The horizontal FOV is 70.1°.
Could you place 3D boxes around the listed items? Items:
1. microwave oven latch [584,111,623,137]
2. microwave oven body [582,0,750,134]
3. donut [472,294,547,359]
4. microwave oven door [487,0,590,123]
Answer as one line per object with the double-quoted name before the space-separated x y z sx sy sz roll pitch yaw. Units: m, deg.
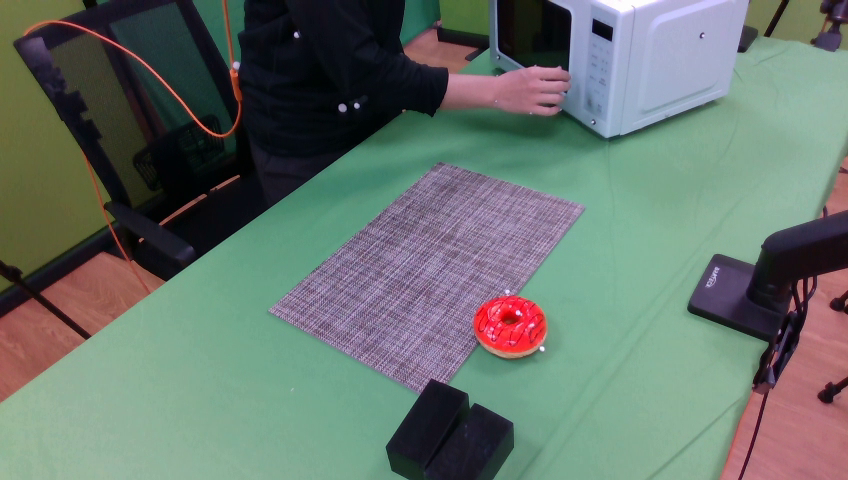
"microwave oven latch" 0.337 -0.222 1.142 0.030 0.029 0.078 -21 42 -14
"microwave oven body" 0.382 -0.445 1.246 0.327 0.261 0.437 -22 42 -16
"donut" 0.114 0.114 0.803 0.099 0.048 0.098 0 40 1
"microwave oven door" 0.232 -0.420 1.231 0.039 0.245 0.352 -22 43 -16
